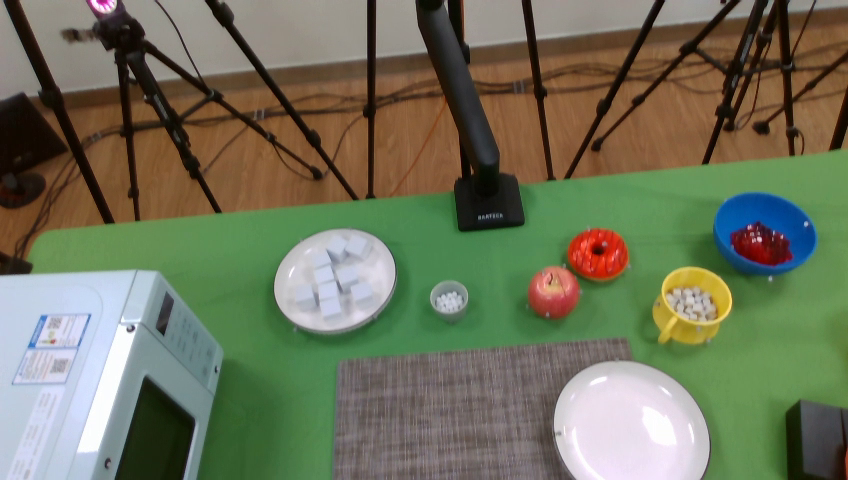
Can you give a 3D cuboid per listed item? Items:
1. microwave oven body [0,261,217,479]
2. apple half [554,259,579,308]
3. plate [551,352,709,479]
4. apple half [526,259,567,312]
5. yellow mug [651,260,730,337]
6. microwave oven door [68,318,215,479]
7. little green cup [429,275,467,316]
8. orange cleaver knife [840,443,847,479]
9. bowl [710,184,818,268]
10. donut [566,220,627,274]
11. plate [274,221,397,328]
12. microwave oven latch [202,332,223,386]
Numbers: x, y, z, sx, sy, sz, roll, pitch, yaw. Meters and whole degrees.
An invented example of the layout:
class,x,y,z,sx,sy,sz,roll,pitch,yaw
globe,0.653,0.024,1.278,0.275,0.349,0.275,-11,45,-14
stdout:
class,x,y,z,sx,sy,sz,roll,pitch,yaw
microwave oven body,-0.489,0.279,0.764,0.326,0.262,0.437,-2,56,4
apple half,0.227,0.067,0.954,0.033,0.082,0.080,-15,55,2
plate,0.279,0.257,0.834,0.209,0.038,0.207,-3,55,5
apple half,0.189,0.077,0.953,0.053,0.075,0.080,-14,59,2
yellow mug,0.393,0.098,0.919,0.130,0.064,0.099,-41,61,-20
microwave oven door,-0.345,0.304,0.725,0.039,0.246,0.352,-3,55,5
little green cup,0.040,0.092,0.979,0.061,0.039,0.061,-3,55,5
orange cleaver knife,0.515,0.330,0.734,0.012,0.077,0.211,10,87,16
bowl,0.531,-0.009,0.972,0.151,0.077,0.150,-3,55,5
donut,0.286,0.011,1.006,0.099,0.049,0.098,-4,57,6
plate,-0.146,0.060,1.022,0.207,0.039,0.205,-3,55,4
microwave oven latch,-0.331,0.183,0.932,0.030,0.030,0.078,-1,56,5
